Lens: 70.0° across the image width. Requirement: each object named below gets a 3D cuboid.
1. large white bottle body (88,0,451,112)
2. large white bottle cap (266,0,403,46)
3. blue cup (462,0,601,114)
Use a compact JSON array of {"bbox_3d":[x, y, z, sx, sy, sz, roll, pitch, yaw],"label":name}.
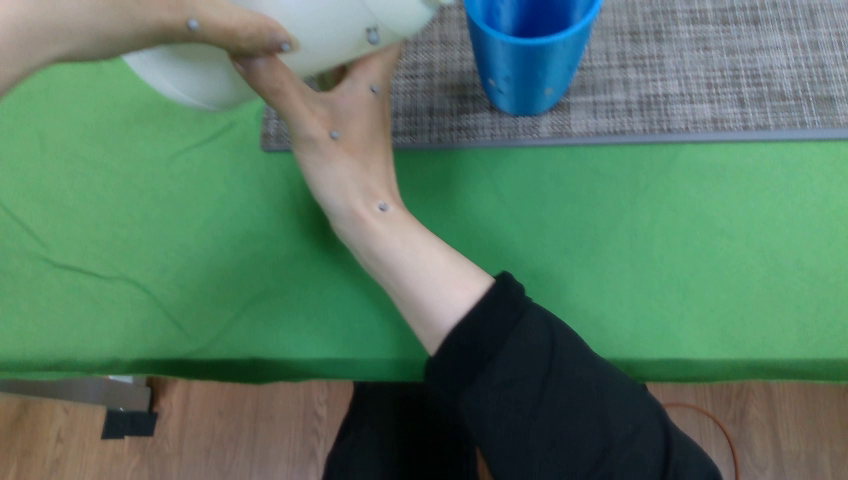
[{"bbox_3d":[-0.072,-0.159,0.329,0.184,0.132,0.129,-15,69,23],"label":"large white bottle body"},{"bbox_3d":[-0.071,-0.207,0.484,0.115,0.018,0.114,-1,71,4],"label":"large white bottle cap"},{"bbox_3d":[0.069,-0.135,0.404,0.092,0.101,0.092,-2,70,6],"label":"blue cup"}]
